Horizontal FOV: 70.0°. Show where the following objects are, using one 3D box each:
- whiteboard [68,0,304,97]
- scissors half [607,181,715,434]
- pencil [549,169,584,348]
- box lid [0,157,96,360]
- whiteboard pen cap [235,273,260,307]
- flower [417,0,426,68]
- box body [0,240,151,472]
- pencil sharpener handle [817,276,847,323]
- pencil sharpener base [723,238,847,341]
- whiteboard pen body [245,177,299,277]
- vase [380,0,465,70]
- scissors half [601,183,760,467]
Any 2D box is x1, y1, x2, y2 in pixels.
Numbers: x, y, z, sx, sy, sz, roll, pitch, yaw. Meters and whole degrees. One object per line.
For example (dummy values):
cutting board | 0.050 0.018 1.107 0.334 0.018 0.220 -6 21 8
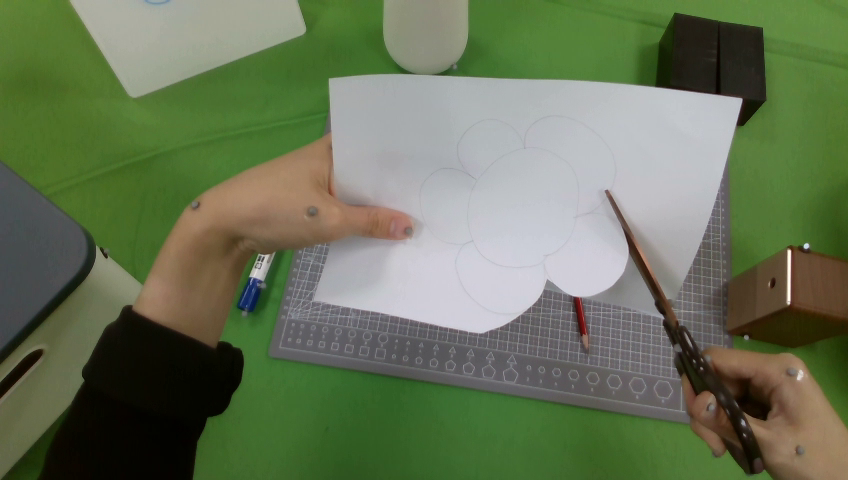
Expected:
whiteboard | -0.287 -0.347 0.628 0.217 0.308 0.142 -24 52 -9
scissors half | 0.142 0.042 0.358 0.013 0.040 0.176 -26 108 8
pencil | 0.149 0.015 0.627 0.012 0.012 0.192 -5 71 -3
box lid | -0.465 -0.002 0.459 0.370 0.015 0.262 34 72 11
whiteboard pen cap | -0.174 0.049 0.601 0.018 0.018 0.033 14 65 5
flower | -0.006 -0.314 0.558 0.044 0.365 0.038 2 51 3
box body | -0.465 0.026 0.528 0.362 0.161 0.253 34 73 11
pencil sharpener handle | 0.393 0.058 0.555 0.030 0.068 0.035 13 63 0
pencil sharpener base | 0.343 0.050 0.567 0.077 0.107 0.061 13 69 0
whiteboard pen body | -0.159 -0.004 0.623 0.017 0.017 0.140 15 68 5
vase | -0.002 -0.271 0.631 0.098 0.201 0.097 0 68 0
scissors half | 0.140 0.045 0.336 0.013 0.040 0.174 -27 84 3
